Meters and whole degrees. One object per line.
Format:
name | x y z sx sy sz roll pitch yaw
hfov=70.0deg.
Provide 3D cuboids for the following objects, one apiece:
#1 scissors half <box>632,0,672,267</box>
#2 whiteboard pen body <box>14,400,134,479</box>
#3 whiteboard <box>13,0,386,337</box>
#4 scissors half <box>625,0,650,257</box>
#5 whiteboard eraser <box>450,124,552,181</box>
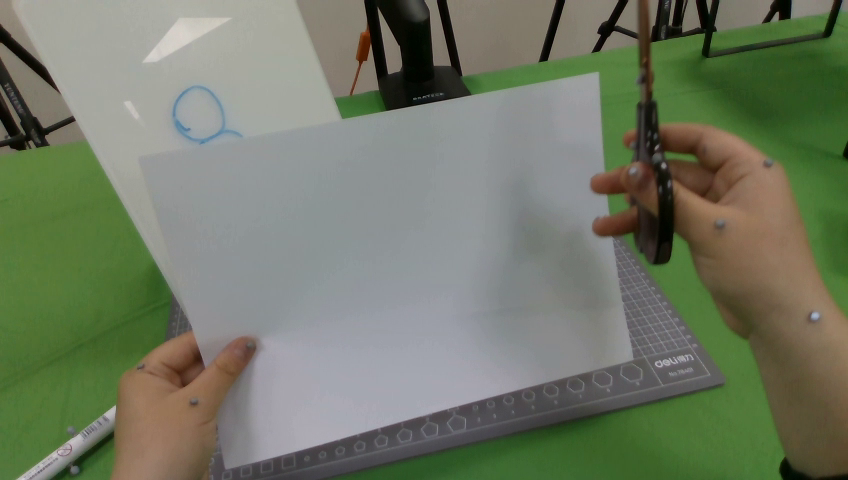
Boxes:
scissors half | 0.119 -0.072 0.325 0.013 0.175 0.040 -6 0 10
whiteboard pen body | -0.282 0.170 0.451 0.017 0.017 0.140 24 47 31
whiteboard | -0.207 -0.104 0.598 0.217 0.308 0.142 -31 26 -26
scissors half | 0.122 -0.075 0.345 0.013 0.176 0.040 -6 18 4
whiteboard eraser | 0.090 -0.101 0.717 0.113 0.042 0.055 -13 42 -9
